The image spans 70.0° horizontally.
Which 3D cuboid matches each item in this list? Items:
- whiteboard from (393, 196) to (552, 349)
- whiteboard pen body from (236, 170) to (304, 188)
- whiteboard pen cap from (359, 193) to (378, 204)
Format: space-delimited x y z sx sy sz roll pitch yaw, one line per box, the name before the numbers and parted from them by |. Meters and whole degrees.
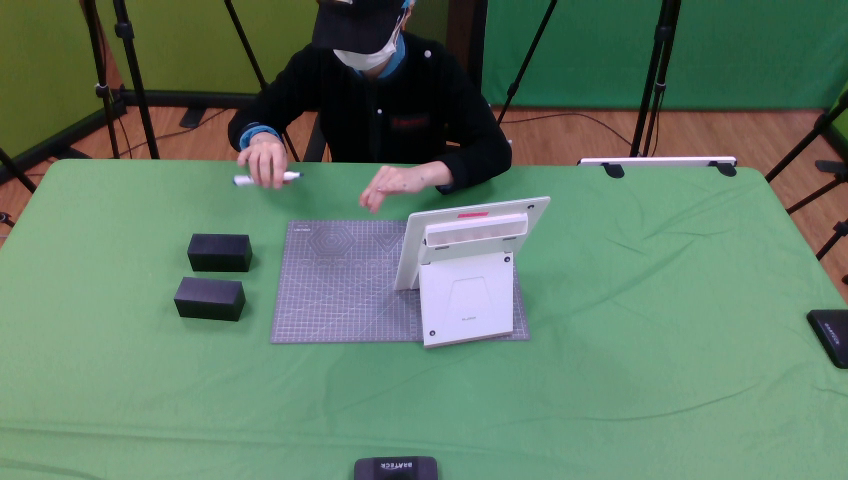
whiteboard | 0.077 0.071 0.977 0.217 0.306 0.143 -7 66 -11
whiteboard pen body | -0.282 -0.113 1.110 0.140 0.017 0.017 -8 44 17
whiteboard pen cap | -0.103 -0.077 1.118 0.032 0.017 0.017 11 46 7
